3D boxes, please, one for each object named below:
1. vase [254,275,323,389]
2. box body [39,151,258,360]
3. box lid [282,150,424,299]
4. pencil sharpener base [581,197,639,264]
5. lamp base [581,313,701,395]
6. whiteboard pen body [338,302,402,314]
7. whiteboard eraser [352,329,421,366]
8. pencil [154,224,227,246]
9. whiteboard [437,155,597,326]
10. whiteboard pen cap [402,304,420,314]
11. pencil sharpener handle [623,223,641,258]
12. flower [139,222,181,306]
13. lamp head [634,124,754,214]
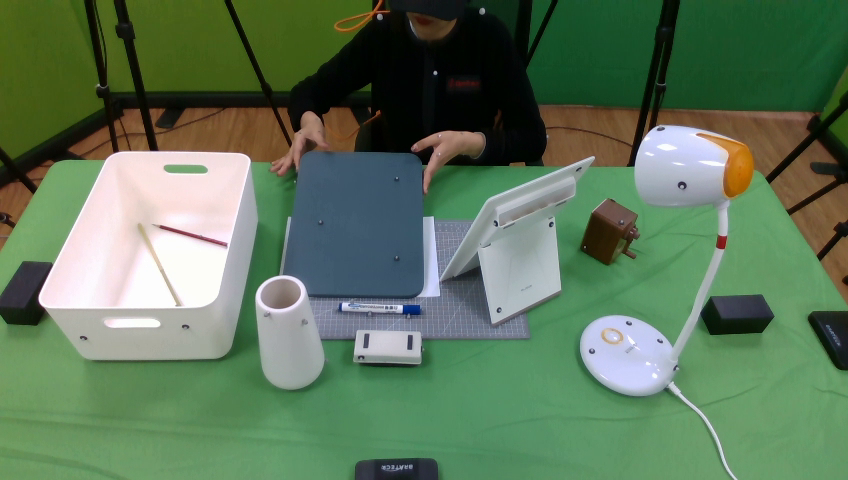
[{"bbox_3d":[-0.209,0.143,0.921,0.098,0.201,0.097,1,46,-1],"label":"vase"},{"bbox_3d":[-0.441,0.022,1.046,0.254,0.161,0.361,0,46,-5],"label":"box body"},{"bbox_3d":[-0.132,-0.044,1.204,0.263,0.015,0.369,1,53,-3],"label":"box lid"},{"bbox_3d":[0.362,-0.016,1.178,0.076,0.107,0.061,35,53,26],"label":"pencil sharpener base"},{"bbox_3d":[0.361,0.144,0.973,0.178,0.181,0.160,34,53,23],"label":"lamp base"},{"bbox_3d":[-0.083,0.121,1.074,0.141,0.017,0.017,3,46,-2],"label":"whiteboard pen body"},{"bbox_3d":[-0.061,0.180,1.005,0.113,0.042,0.055,3,48,-3],"label":"whiteboard eraser"},{"bbox_3d":[-0.439,-0.007,1.172,0.194,0.012,0.012,14,47,11],"label":"pencil"},{"bbox_3d":[0.180,0.023,1.029,0.217,0.306,0.143,-21,71,-23],"label":"whiteboard"},{"bbox_3d":[-0.024,0.123,1.076,0.033,0.018,0.018,1,46,1],"label":"whiteboard pen cap"},{"bbox_3d":[0.399,0.002,1.146,0.030,0.068,0.036,35,45,26],"label":"pencil sharpener handle"},{"bbox_3d":[-0.459,0.074,1.084,0.044,0.038,0.359,-27,51,-20],"label":"flower"},{"bbox_3d":[0.351,-0.089,0.776,0.112,0.113,0.122,-30,30,-28],"label":"lamp head"}]
